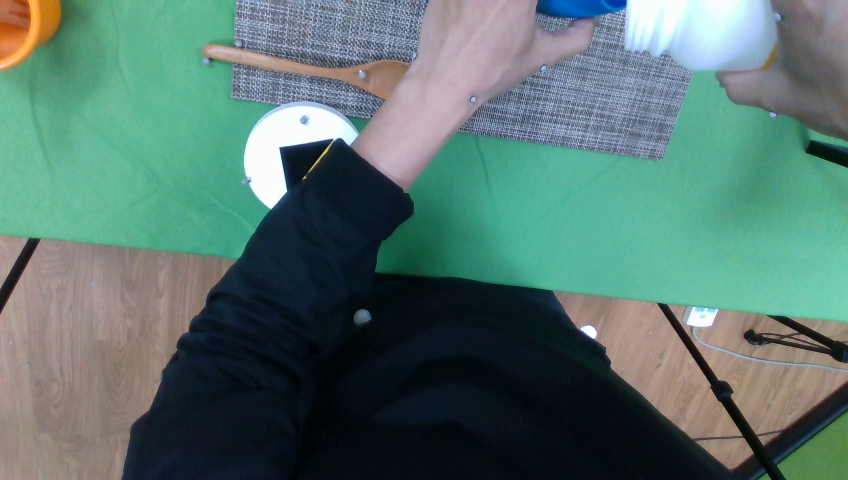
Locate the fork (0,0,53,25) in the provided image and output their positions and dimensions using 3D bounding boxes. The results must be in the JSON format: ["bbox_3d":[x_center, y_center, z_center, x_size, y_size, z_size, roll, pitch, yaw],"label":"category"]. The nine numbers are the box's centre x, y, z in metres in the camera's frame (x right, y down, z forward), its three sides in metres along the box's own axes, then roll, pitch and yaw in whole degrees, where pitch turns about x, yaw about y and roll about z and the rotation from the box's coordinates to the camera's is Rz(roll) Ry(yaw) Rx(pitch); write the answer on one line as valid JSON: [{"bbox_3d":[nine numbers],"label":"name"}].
[{"bbox_3d":[-0.359,-0.179,0.403,0.208,0.018,0.028,-8,134,-59],"label":"fork"}]

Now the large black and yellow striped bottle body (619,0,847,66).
[{"bbox_3d":[0.211,-0.167,0.343,0.183,0.130,0.131,5,117,14],"label":"large black and yellow striped bottle body"}]

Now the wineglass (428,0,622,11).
[{"bbox_3d":[0.072,-0.211,0.457,0.074,0.170,0.074,-17,117,-38],"label":"wineglass"}]

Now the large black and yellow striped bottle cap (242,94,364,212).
[{"bbox_3d":[-0.115,-0.081,0.580,0.115,0.018,0.116,-6,120,-10],"label":"large black and yellow striped bottle cap"}]

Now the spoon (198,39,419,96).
[{"bbox_3d":[-0.100,-0.158,0.539,0.194,0.021,0.042,4,136,-15],"label":"spoon"}]
